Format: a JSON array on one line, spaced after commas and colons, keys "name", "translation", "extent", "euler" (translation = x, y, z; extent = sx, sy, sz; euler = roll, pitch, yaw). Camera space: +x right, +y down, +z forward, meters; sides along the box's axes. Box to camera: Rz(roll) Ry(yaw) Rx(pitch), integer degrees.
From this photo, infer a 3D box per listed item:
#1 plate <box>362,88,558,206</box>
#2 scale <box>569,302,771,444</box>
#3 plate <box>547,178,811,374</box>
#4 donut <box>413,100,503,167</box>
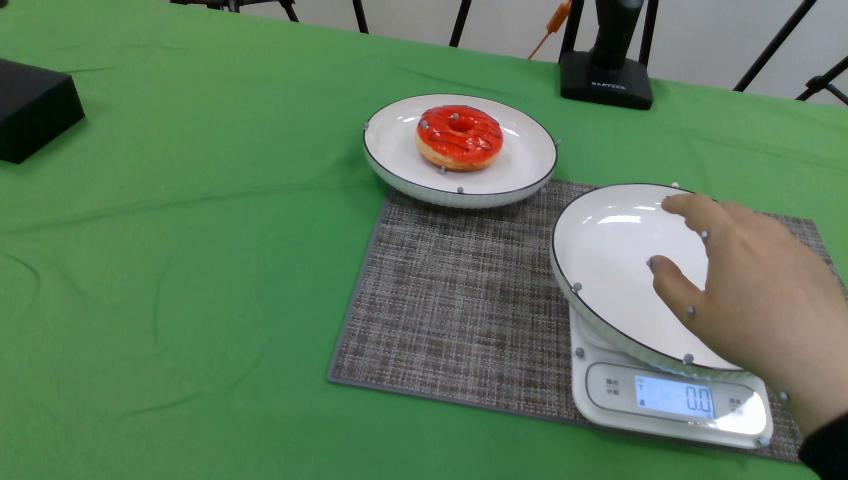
[{"name": "plate", "translation": [0.037, -0.099, 0.656], "extent": [0.209, 0.038, 0.207], "euler": [4, 41, -3]}, {"name": "scale", "translation": [0.196, 0.066, 0.505], "extent": [0.148, 0.032, 0.199], "euler": [9, 44, 3]}, {"name": "plate", "translation": [0.201, 0.026, 0.499], "extent": [0.208, 0.039, 0.205], "euler": [4, 44, -4]}, {"name": "donut", "translation": [0.038, -0.115, 0.657], "extent": [0.099, 0.048, 0.098], "euler": [5, 41, -4]}]
